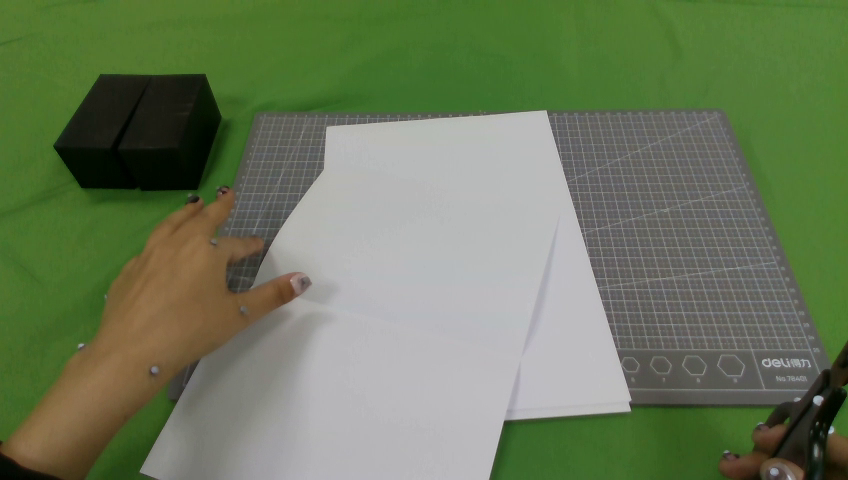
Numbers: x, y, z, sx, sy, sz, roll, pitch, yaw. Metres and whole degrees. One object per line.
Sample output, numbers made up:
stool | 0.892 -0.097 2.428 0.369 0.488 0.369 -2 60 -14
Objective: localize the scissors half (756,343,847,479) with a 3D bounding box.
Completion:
scissors half | 0.199 0.073 0.290 0.013 0.175 0.040 22 15 14

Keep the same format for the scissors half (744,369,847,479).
scissors half | 0.208 0.067 0.308 0.012 0.176 0.040 25 32 18
